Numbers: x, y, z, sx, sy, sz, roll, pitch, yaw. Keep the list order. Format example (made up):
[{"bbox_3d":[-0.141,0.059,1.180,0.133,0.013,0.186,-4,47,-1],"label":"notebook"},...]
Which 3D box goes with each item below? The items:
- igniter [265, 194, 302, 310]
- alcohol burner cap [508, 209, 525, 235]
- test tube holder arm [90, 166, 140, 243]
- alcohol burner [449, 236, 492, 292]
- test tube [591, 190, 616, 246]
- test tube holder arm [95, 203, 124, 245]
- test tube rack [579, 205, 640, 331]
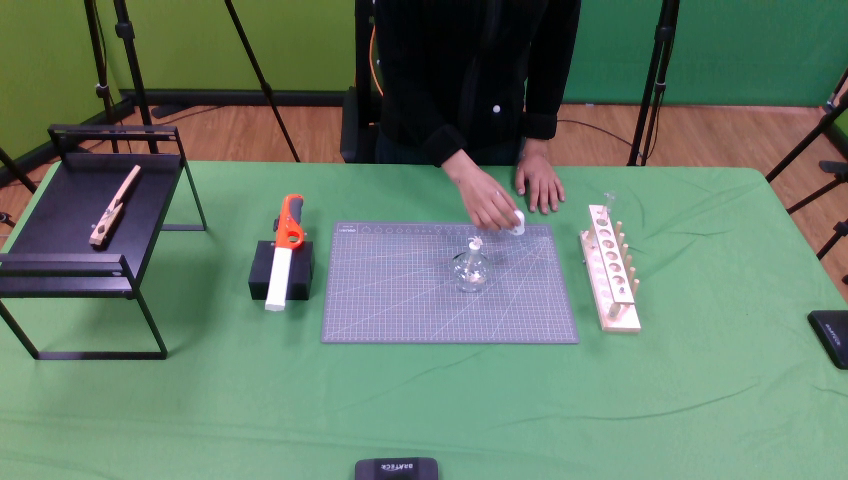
[{"bbox_3d":[-0.253,0.012,1.099,0.057,0.025,0.274,9,46,-12],"label":"igniter"},{"bbox_3d":[0.177,-0.037,1.155,0.034,0.048,0.033,-3,45,3],"label":"alcohol burner cap"},{"bbox_3d":[-0.492,-0.061,0.970,0.013,0.015,0.177,28,38,-24],"label":"test tube holder arm"},{"bbox_3d":[0.086,0.038,1.101,0.078,0.119,0.077,3,44,-2],"label":"alcohol burner"},{"bbox_3d":[0.338,-0.038,1.149,0.017,0.151,0.017,0,51,0],"label":"test tube"},{"bbox_3d":[-0.488,-0.027,0.940,0.010,0.015,0.087,29,38,-23],"label":"test tube holder arm"},{"bbox_3d":[0.353,0.047,1.137,0.067,0.085,0.241,2,46,-2],"label":"test tube rack"}]
